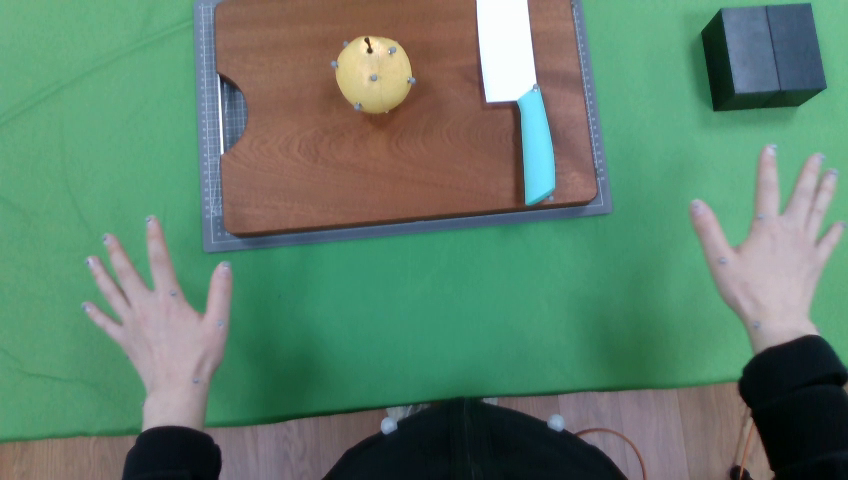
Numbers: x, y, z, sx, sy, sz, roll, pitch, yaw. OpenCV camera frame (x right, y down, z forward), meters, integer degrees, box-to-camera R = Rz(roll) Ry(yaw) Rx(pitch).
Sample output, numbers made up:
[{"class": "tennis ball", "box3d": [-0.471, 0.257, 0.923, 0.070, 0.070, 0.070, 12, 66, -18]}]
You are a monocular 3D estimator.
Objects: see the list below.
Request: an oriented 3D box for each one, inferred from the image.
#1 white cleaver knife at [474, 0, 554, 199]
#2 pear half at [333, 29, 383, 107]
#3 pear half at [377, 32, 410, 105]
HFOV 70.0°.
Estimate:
[{"class": "white cleaver knife", "box3d": [0.094, -0.180, 0.660, 0.066, 0.021, 0.285, -6, 76, 3]}, {"class": "pear half", "box3d": [-0.065, -0.180, 0.609, 0.056, 0.110, 0.076, -3, 76, 0]}, {"class": "pear half", "box3d": [-0.030, -0.178, 0.619, 0.031, 0.088, 0.070, -2, 76, -1]}]
